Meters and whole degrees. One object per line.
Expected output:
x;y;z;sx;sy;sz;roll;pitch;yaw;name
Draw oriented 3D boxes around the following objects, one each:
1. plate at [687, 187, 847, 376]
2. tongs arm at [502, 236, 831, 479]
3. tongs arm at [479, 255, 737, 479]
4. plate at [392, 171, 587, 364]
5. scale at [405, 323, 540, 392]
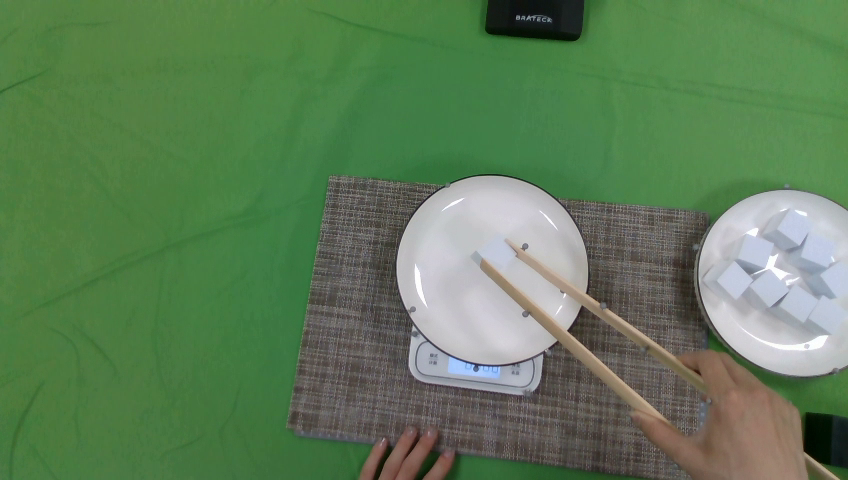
0.395;0.046;0.673;0.207;0.039;0.206;0;78;3;plate
0.207;0.121;0.537;0.382;0.027;0.050;37;69;22;tongs arm
0.190;0.135;0.531;0.028;0.028;0.384;-39;64;-21;tongs arm
0.069;0.029;0.657;0.209;0.038;0.208;0;79;2;plate
0.062;0.063;0.684;0.148;0.032;0.200;7;79;4;scale
